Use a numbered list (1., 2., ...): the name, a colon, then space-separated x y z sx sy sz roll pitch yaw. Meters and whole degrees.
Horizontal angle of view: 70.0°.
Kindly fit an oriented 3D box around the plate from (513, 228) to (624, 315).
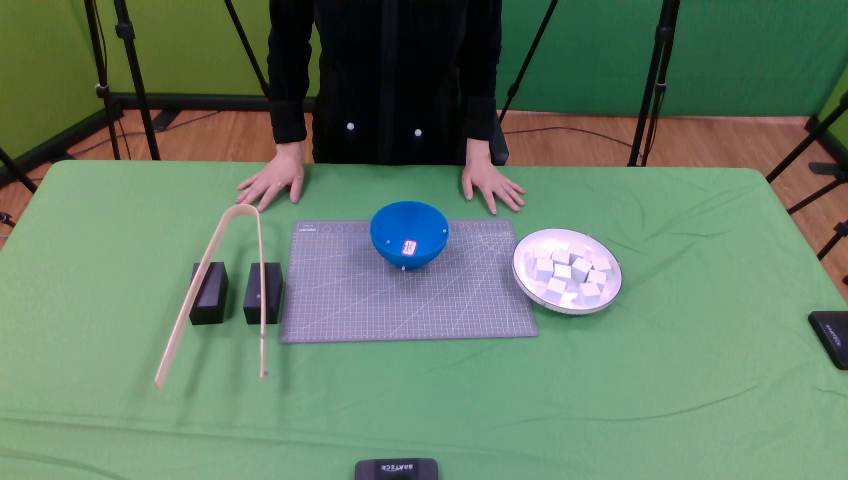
1. plate: 0.268 0.063 1.146 0.208 0.039 0.206 3 46 -3

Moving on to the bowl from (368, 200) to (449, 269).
1. bowl: -0.031 0.002 1.151 0.151 0.077 0.150 2 46 -2

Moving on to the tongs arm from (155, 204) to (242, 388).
1. tongs arm: -0.375 0.075 1.022 0.028 0.028 0.385 2 46 4

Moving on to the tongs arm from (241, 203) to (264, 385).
1. tongs arm: -0.295 0.075 1.031 0.051 0.026 0.382 -5 47 -8
